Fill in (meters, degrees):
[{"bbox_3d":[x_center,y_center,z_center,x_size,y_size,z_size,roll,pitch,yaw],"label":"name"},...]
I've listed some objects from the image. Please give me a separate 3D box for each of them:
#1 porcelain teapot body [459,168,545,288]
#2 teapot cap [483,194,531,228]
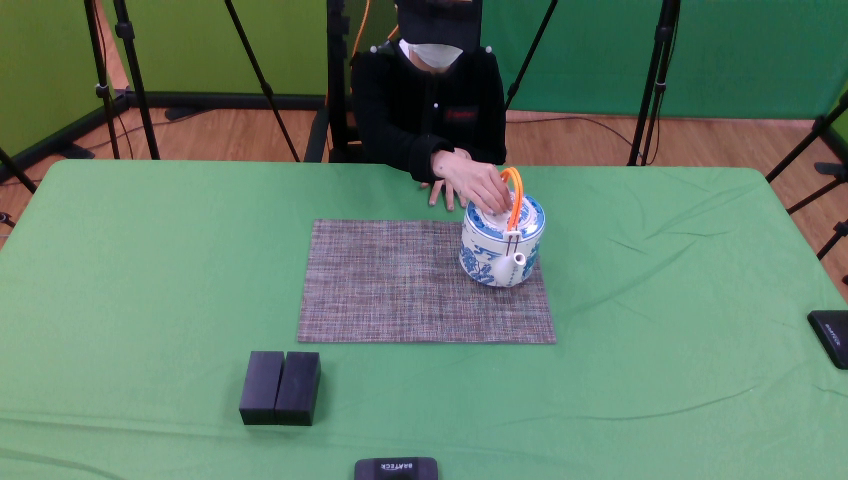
[{"bbox_3d":[0.146,-0.006,1.070,0.145,0.226,0.204,-4,46,-8],"label":"porcelain teapot body"},{"bbox_3d":[0.146,-0.055,1.062,0.085,0.044,0.084,3,47,-3],"label":"teapot cap"}]
